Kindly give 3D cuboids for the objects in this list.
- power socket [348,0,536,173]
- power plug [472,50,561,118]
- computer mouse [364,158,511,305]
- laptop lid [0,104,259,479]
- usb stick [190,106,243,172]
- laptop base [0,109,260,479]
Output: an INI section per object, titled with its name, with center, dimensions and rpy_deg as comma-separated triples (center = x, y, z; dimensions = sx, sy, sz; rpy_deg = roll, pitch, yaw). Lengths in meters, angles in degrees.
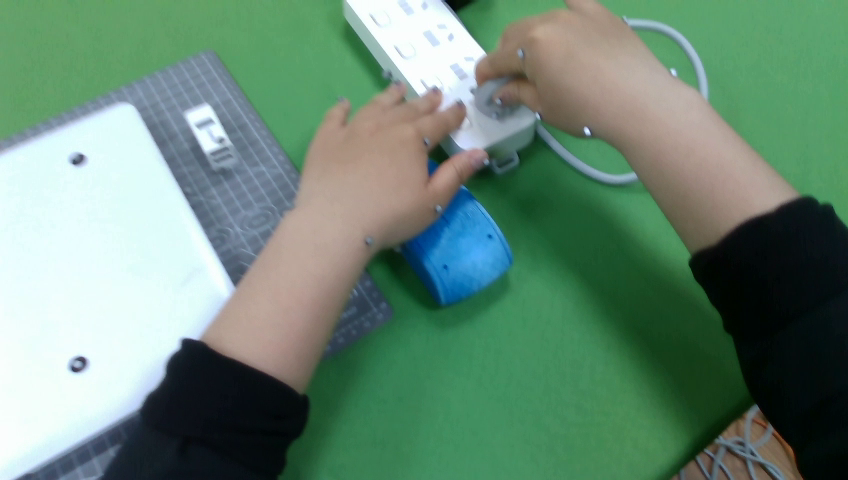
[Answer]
[power socket]
center = 0.010, -0.146, 0.501
dimensions = 0.072, 0.033, 0.224
rpy_deg = -27, 63, -12
[power plug]
center = 0.072, -0.111, 0.461
dimensions = 0.073, 0.053, 0.035
rpy_deg = -11, 60, -15
[computer mouse]
center = 0.007, -0.012, 0.424
dimensions = 0.063, 0.041, 0.116
rpy_deg = -29, 60, -12
[laptop lid]
center = -0.311, 0.060, 0.384
dimensions = 0.357, 0.013, 0.239
rpy_deg = -28, 66, -14
[usb stick]
center = -0.163, -0.083, 0.469
dimensions = 0.021, 0.027, 0.058
rpy_deg = -28, 61, -12
[laptop base]
center = -0.312, 0.064, 0.395
dimensions = 0.354, 0.023, 0.233
rpy_deg = -29, 68, -15
